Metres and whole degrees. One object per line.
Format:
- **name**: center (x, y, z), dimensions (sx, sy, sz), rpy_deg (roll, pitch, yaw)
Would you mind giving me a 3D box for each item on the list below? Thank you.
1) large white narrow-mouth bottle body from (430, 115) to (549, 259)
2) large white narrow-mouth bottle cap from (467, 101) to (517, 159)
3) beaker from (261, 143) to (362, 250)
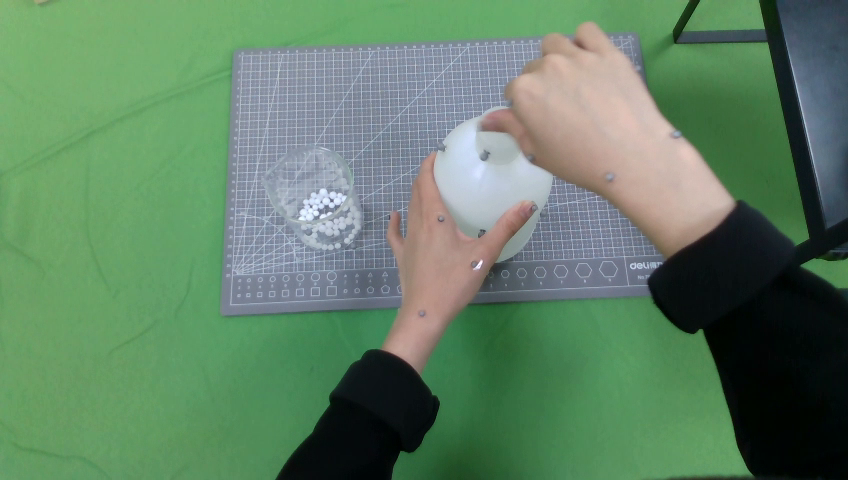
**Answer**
- **large white narrow-mouth bottle body**: center (0.056, -0.052, 0.526), dimensions (0.102, 0.196, 0.101), rpy_deg (-1, 73, 3)
- **large white narrow-mouth bottle cap**: center (0.049, -0.079, 0.439), dimensions (0.038, 0.024, 0.037), rpy_deg (-1, 74, 3)
- **beaker**: center (-0.101, -0.036, 0.570), dimensions (0.084, 0.101, 0.073), rpy_deg (8, 72, 4)
